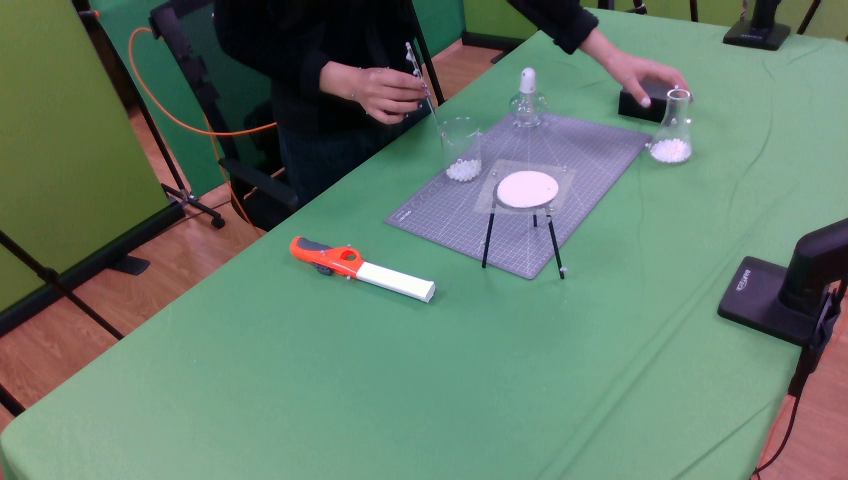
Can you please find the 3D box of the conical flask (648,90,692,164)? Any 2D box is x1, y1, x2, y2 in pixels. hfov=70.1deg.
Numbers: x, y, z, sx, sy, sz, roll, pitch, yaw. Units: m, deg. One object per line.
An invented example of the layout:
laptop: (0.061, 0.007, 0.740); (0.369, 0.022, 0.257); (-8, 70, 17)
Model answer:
conical flask: (0.437, -0.199, 1.057); (0.075, 0.122, 0.075); (-5, 40, 5)

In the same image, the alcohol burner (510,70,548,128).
alcohol burner: (0.209, -0.287, 1.207); (0.078, 0.119, 0.077); (-5, 42, 5)

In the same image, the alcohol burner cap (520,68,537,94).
alcohol burner cap: (0.205, -0.313, 1.183); (0.034, 0.048, 0.033); (-3, 50, 5)

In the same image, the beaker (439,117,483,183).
beaker: (0.068, -0.160, 1.097); (0.073, 0.101, 0.084); (7, 43, 19)

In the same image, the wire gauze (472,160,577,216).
wire gauze: (0.143, -0.073, 0.850); (0.121, 0.011, 0.125); (8, 43, 22)

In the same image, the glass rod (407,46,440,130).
glass rod: (0.001, -0.251, 1.021); (0.008, 0.201, 0.008); (-7, 59, 13)

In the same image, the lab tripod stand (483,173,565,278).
lab tripod stand: (0.151, -0.025, 0.896); (0.148, 0.132, 0.147); (-7, 40, 6)

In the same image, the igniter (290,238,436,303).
igniter: (-0.106, 0.044, 0.949); (0.274, 0.025, 0.057); (16, 57, 27)
